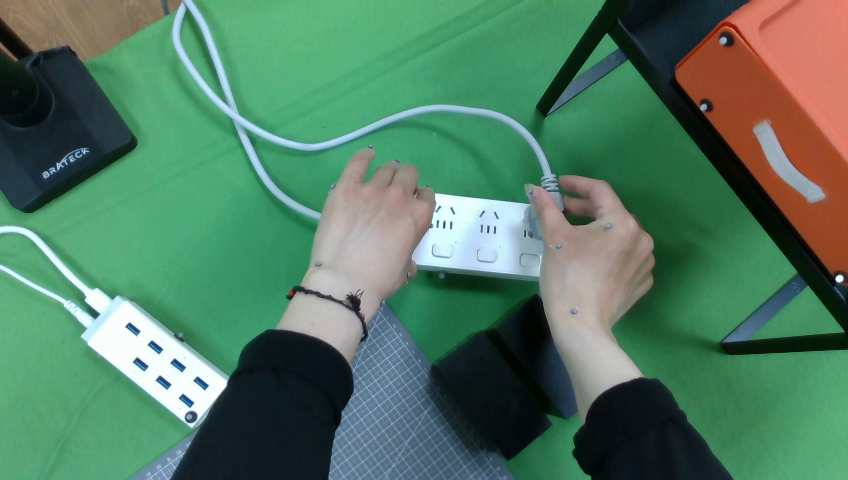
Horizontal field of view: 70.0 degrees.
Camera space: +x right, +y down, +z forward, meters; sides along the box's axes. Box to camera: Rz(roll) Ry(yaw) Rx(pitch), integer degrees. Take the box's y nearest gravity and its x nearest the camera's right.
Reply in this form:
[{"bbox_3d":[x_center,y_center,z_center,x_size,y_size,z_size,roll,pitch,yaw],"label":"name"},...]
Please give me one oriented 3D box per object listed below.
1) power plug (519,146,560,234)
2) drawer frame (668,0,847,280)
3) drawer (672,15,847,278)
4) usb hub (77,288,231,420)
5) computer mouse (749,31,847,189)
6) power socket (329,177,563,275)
[{"bbox_3d":[0.107,-0.041,0.553,0.035,0.053,0.072,13,74,-11],"label":"power plug"},{"bbox_3d":[0.319,-0.115,0.420,0.213,0.083,0.201,-37,86,-12],"label":"drawer frame"},{"bbox_3d":[0.317,-0.111,0.421,0.212,0.073,0.194,-36,85,-12],"label":"drawer"},{"bbox_3d":[-0.234,0.099,0.529,0.125,0.025,0.049,38,79,1],"label":"usb hub"},{"bbox_3d":[0.291,-0.094,0.430,0.063,0.041,0.117,-40,85,-8],"label":"computer mouse"},{"bbox_3d":[0.025,-0.012,0.575,0.227,0.032,0.072,6,79,-5],"label":"power socket"}]
